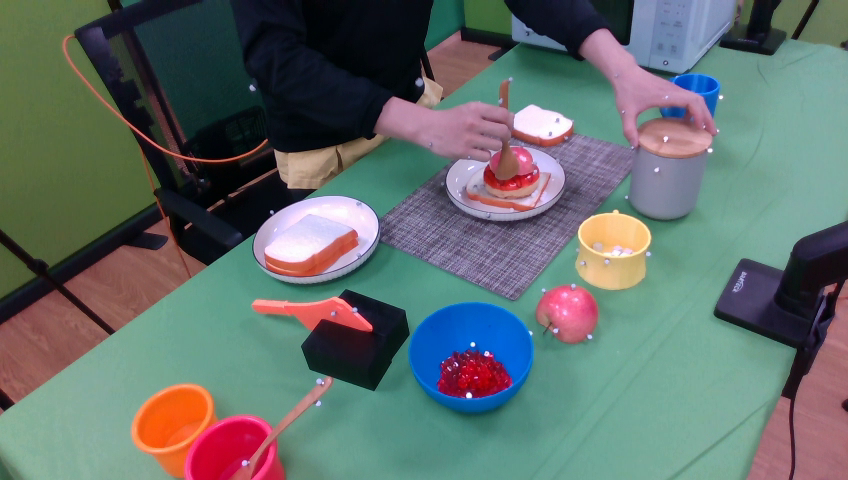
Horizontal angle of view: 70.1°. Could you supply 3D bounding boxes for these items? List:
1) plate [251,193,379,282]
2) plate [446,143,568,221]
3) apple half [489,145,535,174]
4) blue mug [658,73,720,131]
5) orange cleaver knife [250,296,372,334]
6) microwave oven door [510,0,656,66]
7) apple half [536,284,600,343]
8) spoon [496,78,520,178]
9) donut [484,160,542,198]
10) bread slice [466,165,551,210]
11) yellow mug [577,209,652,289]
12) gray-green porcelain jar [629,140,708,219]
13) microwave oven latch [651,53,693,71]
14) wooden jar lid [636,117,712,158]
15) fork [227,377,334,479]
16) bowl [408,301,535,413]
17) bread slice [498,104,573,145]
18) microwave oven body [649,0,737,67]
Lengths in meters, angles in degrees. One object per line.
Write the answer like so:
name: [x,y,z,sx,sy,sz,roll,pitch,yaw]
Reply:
plate: [-0.174,-0.001,0.984,0.209,0.038,0.208,-4,40,4]
plate: [0.142,-0.097,1.045,0.207,0.039,0.206,-4,40,4]
apple half: [0.145,-0.138,0.995,0.081,0.033,0.081,-2,34,2]
blue mug: [0.483,-0.250,1.127,0.082,0.106,0.115,-26,44,-19]
orange cleaver knife: [-0.158,0.103,0.828,0.210,0.078,0.012,-4,43,39]
microwave oven door: [0.350,-0.539,1.348,0.353,0.245,0.039,24,50,31]
apple half: [0.196,0.091,0.815,0.075,0.053,0.080,-22,42,-20]
spoon: [0.119,-0.157,0.884,0.042,0.195,0.021,-16,49,-3]
donut: [0.149,-0.110,1.016,0.099,0.048,0.098,-4,41,4]
bread slice: [0.142,-0.093,1.044,0.133,0.018,0.107,8,41,19]
yellow mug: [0.279,0.004,0.893,0.099,0.064,0.130,5,42,14]
gray-green porcelain jar: [0.383,-0.105,0.958,0.106,0.127,0.105,-4,41,4]
microwave oven latch: [0.533,-0.387,1.301,0.078,0.029,0.030,29,53,36]
wooden jar lid: [0.377,-0.151,0.917,0.108,0.021,0.108,-3,41,3]
fork: [-0.162,0.216,0.647,0.207,0.019,0.028,-49,41,16]
bowl: [0.060,0.156,0.739,0.151,0.077,0.150,-4,40,4]
bread slice: [0.231,-0.231,1.205,0.105,0.019,0.130,-36,47,-29]
microwave oven body: [0.475,-0.602,1.411,0.438,0.261,0.327,23,50,32]
